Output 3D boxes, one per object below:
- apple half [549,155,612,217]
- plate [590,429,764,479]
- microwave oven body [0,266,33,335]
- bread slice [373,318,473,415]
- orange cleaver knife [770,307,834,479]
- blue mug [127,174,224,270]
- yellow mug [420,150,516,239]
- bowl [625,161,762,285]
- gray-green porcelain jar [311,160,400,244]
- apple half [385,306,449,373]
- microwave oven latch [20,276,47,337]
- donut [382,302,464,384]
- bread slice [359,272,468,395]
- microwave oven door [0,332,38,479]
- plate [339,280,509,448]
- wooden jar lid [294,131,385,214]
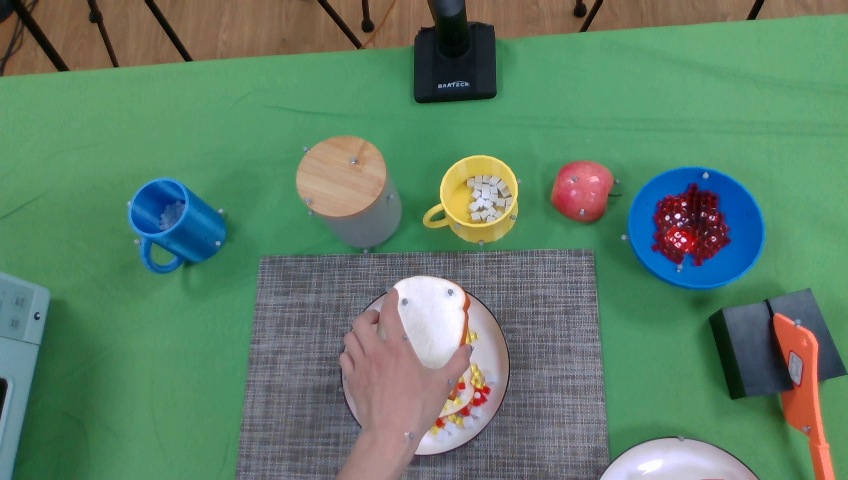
[{"bbox_3d":[0.203,-0.076,0.785,0.074,0.054,0.080,20,76,16],"label":"apple half"},{"bbox_3d":[0.276,0.313,0.656,0.209,0.038,0.208,-3,72,8],"label":"plate"},{"bbox_3d":[-0.700,0.231,0.694,0.325,0.262,0.439,-1,72,7],"label":"microwave oven body"},{"bbox_3d":[0.006,0.145,0.744,0.107,0.018,0.133,-18,72,2],"label":"bread slice"},{"bbox_3d":[0.409,0.179,0.658,0.012,0.077,0.211,-11,93,-3],"label":"orange cleaver knife"},{"bbox_3d":[-0.336,-0.015,0.810,0.082,0.106,0.116,19,75,13],"label":"blue mug"},{"bbox_3d":[0.056,-0.052,0.790,0.131,0.064,0.099,-23,70,1],"label":"yellow mug"},{"bbox_3d":[0.315,-0.011,0.734,0.151,0.077,0.150,-2,72,8],"label":"bowl"},{"bbox_3d":[-0.090,-0.058,0.780,0.106,0.127,0.105,-2,71,7],"label":"gray-green porcelain jar"},{"bbox_3d":[-0.009,0.110,0.689,0.081,0.033,0.080,-5,68,12],"label":"apple half"},{"bbox_3d":[-0.537,0.090,0.820,0.030,0.030,0.078,2,73,8],"label":"microwave oven latch"},{"bbox_3d":[-0.001,0.122,0.722,0.099,0.048,0.098,-2,70,6],"label":"donut"},{"bbox_3d":[-0.008,0.096,0.664,0.104,0.019,0.130,8,65,13],"label":"bread slice"},{"bbox_3d":[-0.557,0.266,0.657,0.039,0.245,0.353,-2,72,8],"label":"microwave oven door"},{"bbox_3d":[0.001,0.147,0.744,0.207,0.039,0.206,-2,72,7],"label":"plate"},{"bbox_3d":[-0.099,-0.078,0.720,0.108,0.021,0.107,-2,70,5],"label":"wooden jar lid"}]
